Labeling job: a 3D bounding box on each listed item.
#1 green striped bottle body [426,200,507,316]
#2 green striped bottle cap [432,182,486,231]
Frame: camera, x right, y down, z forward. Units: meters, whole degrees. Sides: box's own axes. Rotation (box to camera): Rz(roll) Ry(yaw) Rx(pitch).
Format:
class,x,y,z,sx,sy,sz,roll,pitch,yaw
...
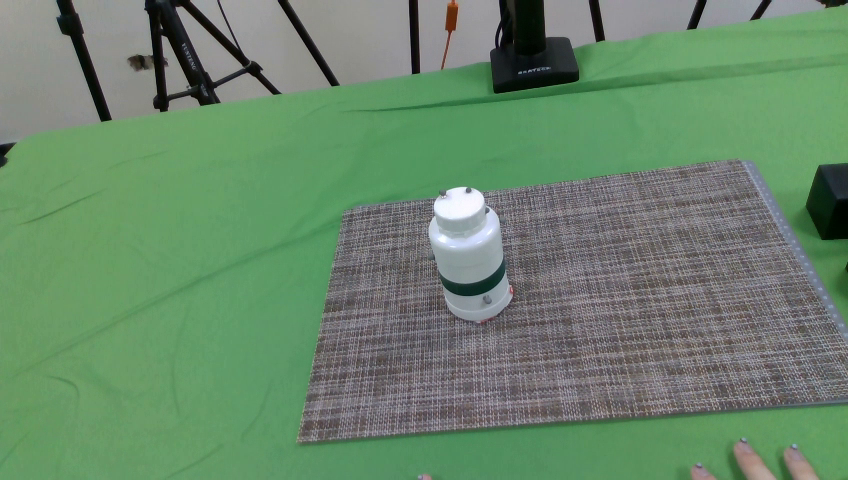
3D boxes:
class,x,y,z,sx,sy,sz,roll,pitch,yaw
green striped bottle body,0.039,0.008,0.544,0.063,0.120,0.062,-8,43,8
green striped bottle cap,0.029,-0.028,0.508,0.044,0.020,0.044,-9,43,9
